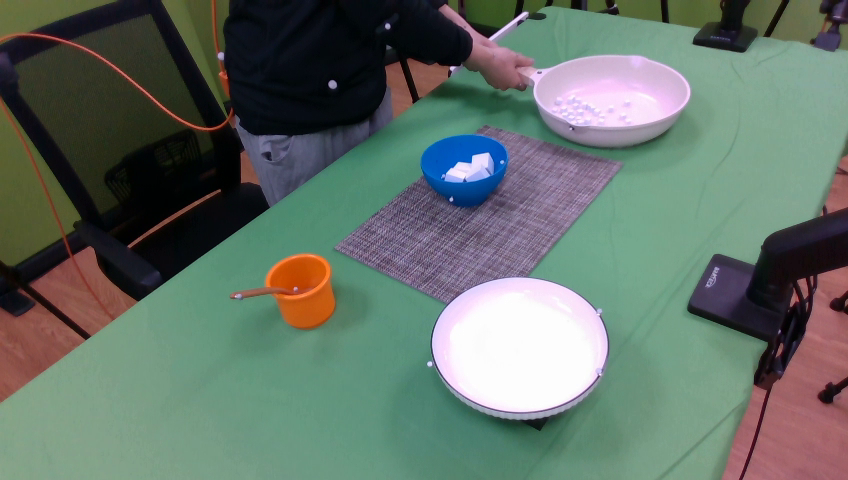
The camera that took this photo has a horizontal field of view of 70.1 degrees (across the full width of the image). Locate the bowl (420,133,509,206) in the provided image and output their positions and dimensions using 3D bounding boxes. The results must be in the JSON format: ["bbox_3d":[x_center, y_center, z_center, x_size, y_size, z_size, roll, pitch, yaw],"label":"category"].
[{"bbox_3d":[0.071,-0.112,1.038,0.151,0.077,0.150,-4,40,4],"label":"bowl"}]

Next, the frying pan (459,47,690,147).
[{"bbox_3d":[0.280,-0.317,1.233,0.485,0.103,0.307,28,50,23],"label":"frying pan"}]

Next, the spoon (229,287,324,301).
[{"bbox_3d":[-0.197,0.071,0.816,0.041,0.195,0.021,12,88,23],"label":"spoon"}]

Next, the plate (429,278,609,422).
[{"bbox_3d":[0.111,0.129,0.716,0.207,0.039,0.206,-5,39,4],"label":"plate"}]
